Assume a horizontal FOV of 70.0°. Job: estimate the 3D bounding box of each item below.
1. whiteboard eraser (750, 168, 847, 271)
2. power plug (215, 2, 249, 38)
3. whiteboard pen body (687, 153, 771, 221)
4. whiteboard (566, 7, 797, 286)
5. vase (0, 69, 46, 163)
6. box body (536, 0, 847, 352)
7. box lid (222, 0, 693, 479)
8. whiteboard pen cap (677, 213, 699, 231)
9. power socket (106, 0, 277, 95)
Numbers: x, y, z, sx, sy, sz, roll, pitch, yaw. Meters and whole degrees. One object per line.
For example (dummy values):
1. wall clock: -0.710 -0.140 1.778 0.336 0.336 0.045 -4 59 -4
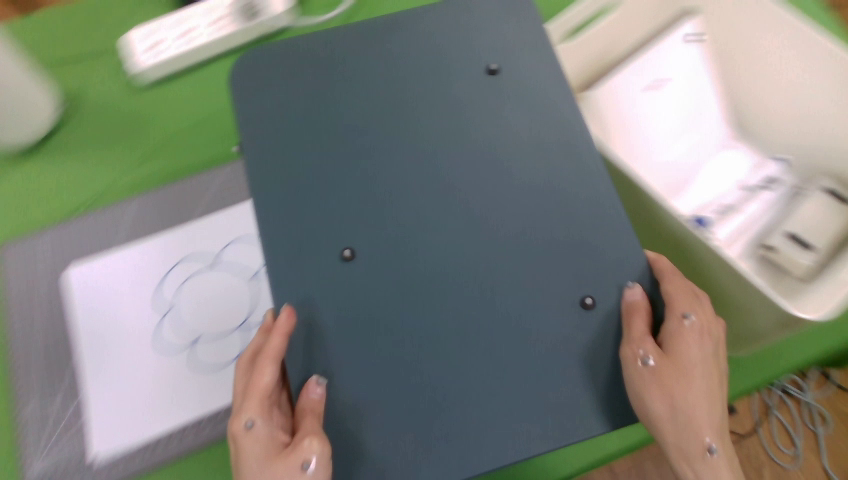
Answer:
1. whiteboard eraser: 0.398 -0.021 0.637 0.055 0.042 0.112 37 72 25
2. power plug: -0.240 -0.266 0.764 0.035 0.053 0.072 -18 72 -7
3. whiteboard pen body: 0.314 -0.048 0.641 0.141 0.017 0.017 -36 68 -10
4. whiteboard: 0.270 -0.100 0.638 0.217 0.145 0.303 -40 69 -17
5. vase: -0.510 -0.169 0.658 0.098 0.201 0.097 -1 65 3
6. box body: 0.273 -0.094 0.624 0.254 0.161 0.361 -40 70 -16
7. box lid: 0.008 -0.023 0.449 0.263 0.015 0.368 -17 70 -6
8. whiteboard pen cap: 0.268 -0.013 0.629 0.033 0.018 0.018 -37 69 -12
9. power socket: -0.299 -0.257 0.786 0.227 0.033 0.071 -27 68 -11
